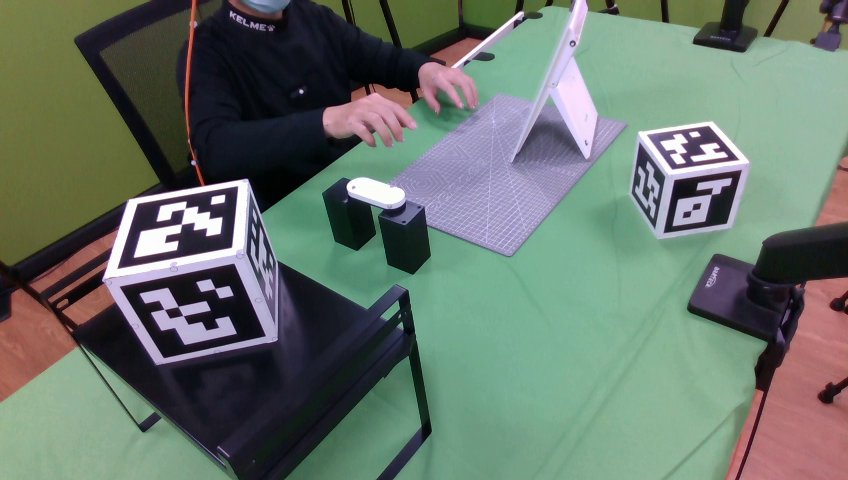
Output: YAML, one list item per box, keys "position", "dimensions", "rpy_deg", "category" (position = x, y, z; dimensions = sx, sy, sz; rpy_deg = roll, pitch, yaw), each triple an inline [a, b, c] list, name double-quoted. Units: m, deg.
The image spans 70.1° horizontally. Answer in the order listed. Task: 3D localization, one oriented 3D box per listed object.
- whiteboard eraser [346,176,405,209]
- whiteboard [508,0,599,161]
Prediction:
- position: [-0.073, -0.072, 0.909]
  dimensions: [0.100, 0.019, 0.041]
  rpy_deg: [20, 49, 29]
  category: "whiteboard eraser"
- position: [0.285, -0.289, 1.088]
  dimensions: [0.144, 0.305, 0.217]
  rpy_deg: [22, 45, 3]
  category: "whiteboard"
